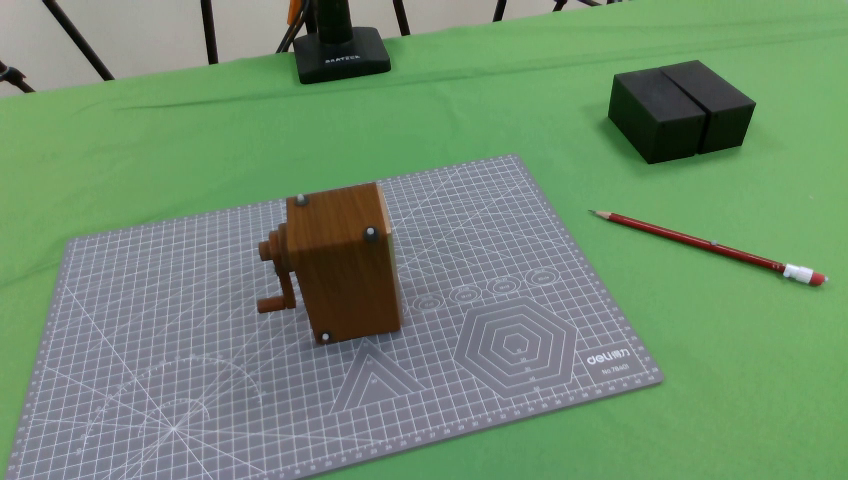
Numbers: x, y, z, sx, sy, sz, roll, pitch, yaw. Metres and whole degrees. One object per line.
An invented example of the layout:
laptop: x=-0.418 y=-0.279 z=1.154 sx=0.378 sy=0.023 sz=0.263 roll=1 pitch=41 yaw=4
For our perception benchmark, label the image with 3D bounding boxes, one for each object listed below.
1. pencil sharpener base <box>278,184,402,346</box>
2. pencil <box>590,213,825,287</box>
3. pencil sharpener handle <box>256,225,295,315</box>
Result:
pencil sharpener base: x=-0.061 y=0.021 z=0.453 sx=0.077 sy=0.108 sz=0.060 roll=-10 pitch=43 yaw=-6
pencil: x=0.238 y=0.005 z=0.526 sx=0.192 sy=0.012 sz=0.012 roll=20 pitch=48 yaw=26
pencil sharpener handle: x=-0.111 y=0.024 z=0.435 sx=0.031 sy=0.068 sz=0.035 roll=-10 pitch=27 yaw=-6
